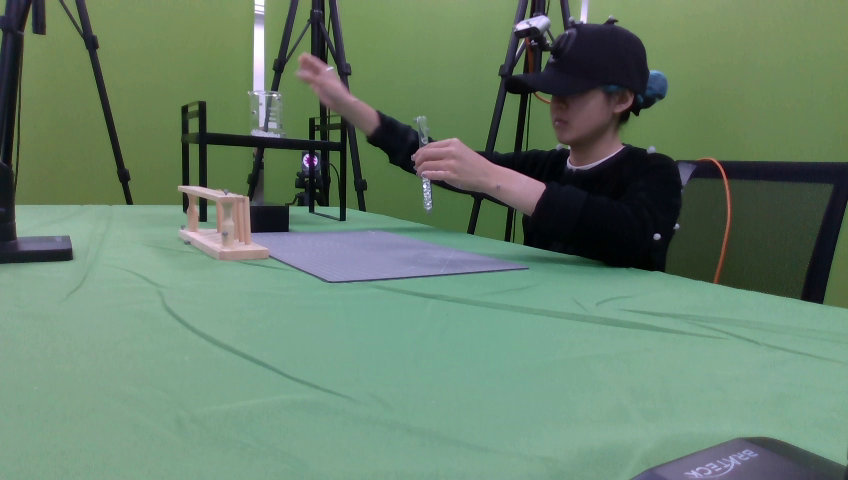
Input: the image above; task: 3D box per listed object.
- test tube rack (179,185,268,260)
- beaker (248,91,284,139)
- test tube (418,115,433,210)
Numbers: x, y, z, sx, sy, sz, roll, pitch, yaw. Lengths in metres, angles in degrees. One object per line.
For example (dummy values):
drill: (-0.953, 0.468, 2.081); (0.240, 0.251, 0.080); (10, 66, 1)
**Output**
test tube rack: (-0.303, -0.031, 0.898); (0.067, 0.085, 0.241); (-2, 9, -33)
beaker: (-0.352, -0.277, 1.343); (0.073, 0.100, 0.084); (8, 10, 39)
test tube: (0.003, -0.123, 0.963); (0.017, 0.150, 0.017); (-4, 4, 1)
